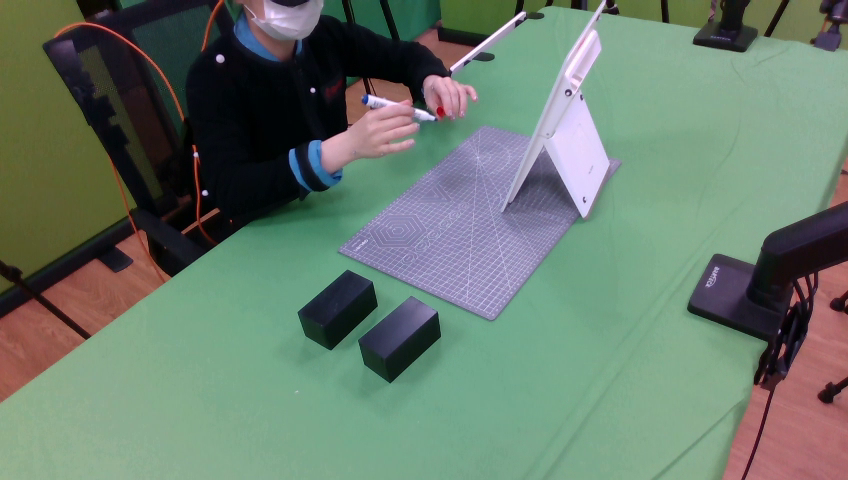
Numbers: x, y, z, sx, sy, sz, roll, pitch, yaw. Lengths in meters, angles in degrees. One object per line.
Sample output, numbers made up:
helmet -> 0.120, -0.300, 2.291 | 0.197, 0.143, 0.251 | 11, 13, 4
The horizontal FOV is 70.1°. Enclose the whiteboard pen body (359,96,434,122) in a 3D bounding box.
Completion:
whiteboard pen body -> -0.040, -0.208, 0.972 | 0.142, 0.017, 0.016 | 8, 30, -35

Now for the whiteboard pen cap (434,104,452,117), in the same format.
whiteboard pen cap -> 0.033, -0.232, 1.082 | 0.017, 0.017, 0.032 | 27, 43, 34

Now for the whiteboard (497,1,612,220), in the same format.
whiteboard -> 0.260, -0.178, 0.963 | 0.143, 0.306, 0.217 | 28, 49, 9
